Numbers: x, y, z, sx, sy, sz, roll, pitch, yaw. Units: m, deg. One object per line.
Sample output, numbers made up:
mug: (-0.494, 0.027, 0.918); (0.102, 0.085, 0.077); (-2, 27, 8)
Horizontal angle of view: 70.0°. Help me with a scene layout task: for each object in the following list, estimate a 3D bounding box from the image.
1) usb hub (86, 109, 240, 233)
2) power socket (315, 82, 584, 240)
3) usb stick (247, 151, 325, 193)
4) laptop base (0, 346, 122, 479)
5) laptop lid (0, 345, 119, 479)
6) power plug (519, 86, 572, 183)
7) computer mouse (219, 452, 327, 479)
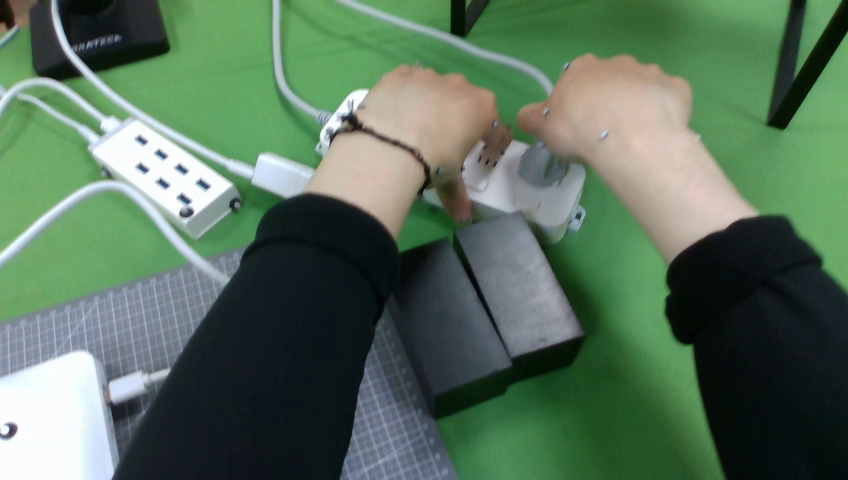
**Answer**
usb hub: (-0.209, -0.057, 0.483); (0.124, 0.025, 0.049); (33, 63, 20)
power socket: (0.019, -0.066, 0.483); (0.226, 0.033, 0.072); (22, 59, 14)
usb stick: (-0.106, -0.052, 0.476); (0.059, 0.021, 0.027); (12, 99, -8)
laptop base: (-0.329, 0.220, 0.311); (0.355, 0.023, 0.233); (-21, 63, -12)
laptop lid: (-0.328, 0.215, 0.300); (0.357, 0.013, 0.239); (-20, 62, -11)
power plug: (0.101, -0.073, 0.460); (0.035, 0.053, 0.072); (34, 68, 22)
computer mouse: (-0.082, 0.172, 0.325); (0.063, 0.041, 0.116); (-9, 54, -3)
